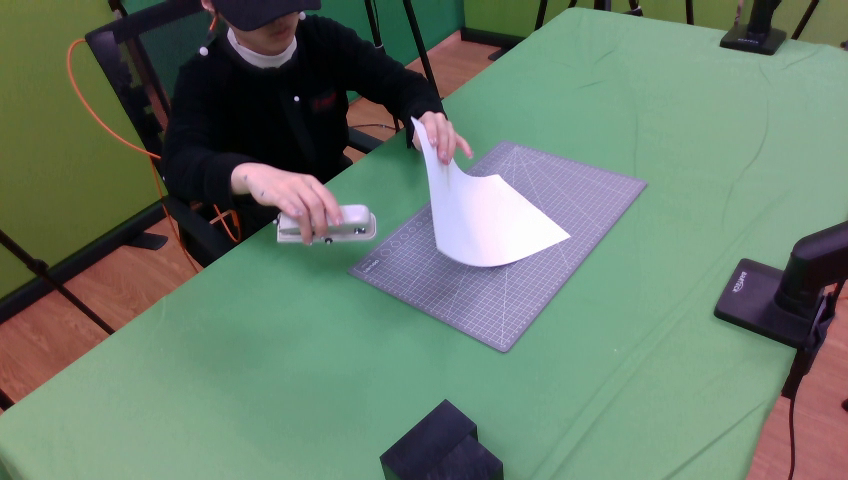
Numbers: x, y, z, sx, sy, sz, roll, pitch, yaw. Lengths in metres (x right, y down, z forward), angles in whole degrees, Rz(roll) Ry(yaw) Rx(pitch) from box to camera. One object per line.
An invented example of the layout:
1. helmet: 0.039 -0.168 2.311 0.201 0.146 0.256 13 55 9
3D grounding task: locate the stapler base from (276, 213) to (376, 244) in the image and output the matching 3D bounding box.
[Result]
1. stapler base: -0.129 -0.018 0.793 0.131 0.024 0.041 -2 72 -7

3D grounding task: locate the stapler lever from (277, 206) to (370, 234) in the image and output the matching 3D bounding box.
1. stapler lever: -0.128 -0.025 0.769 0.118 0.040 0.026 -2 71 -8
